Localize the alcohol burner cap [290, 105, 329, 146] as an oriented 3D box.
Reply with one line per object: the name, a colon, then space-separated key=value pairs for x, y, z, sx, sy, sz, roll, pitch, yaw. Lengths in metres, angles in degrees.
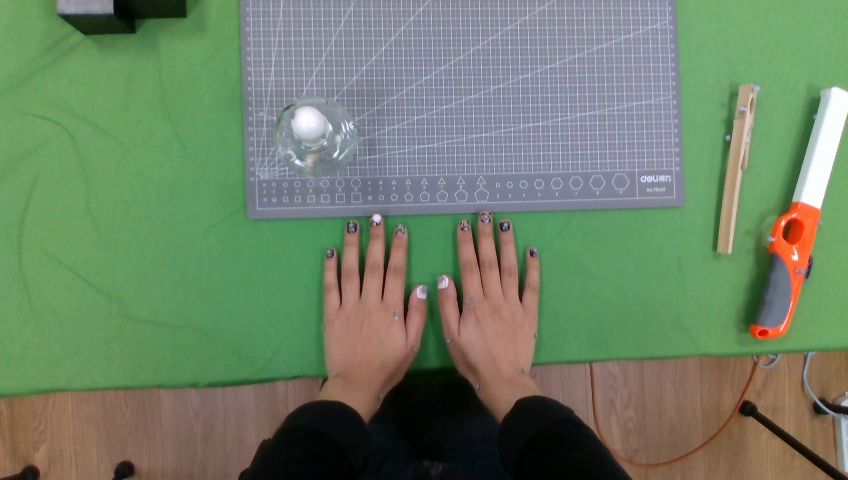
alcohol burner cap: x=-0.099 y=-0.099 z=0.518 sx=0.034 sy=0.048 sz=0.034 roll=0 pitch=94 yaw=-5

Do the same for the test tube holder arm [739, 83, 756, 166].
test tube holder arm: x=0.337 y=-0.122 z=0.639 sx=0.010 sy=0.015 sz=0.087 roll=10 pitch=89 yaw=-35

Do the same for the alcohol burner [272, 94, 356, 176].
alcohol burner: x=-0.102 y=-0.100 z=0.554 sx=0.078 sy=0.119 sz=0.078 roll=0 pitch=87 yaw=-6

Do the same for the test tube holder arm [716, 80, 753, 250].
test tube holder arm: x=0.325 y=-0.078 z=0.636 sx=0.013 sy=0.015 sz=0.178 roll=9 pitch=90 yaw=-35

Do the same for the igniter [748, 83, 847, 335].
igniter: x=0.396 y=-0.030 z=0.637 sx=0.057 sy=0.025 sz=0.276 roll=18 pitch=88 yaw=-14
